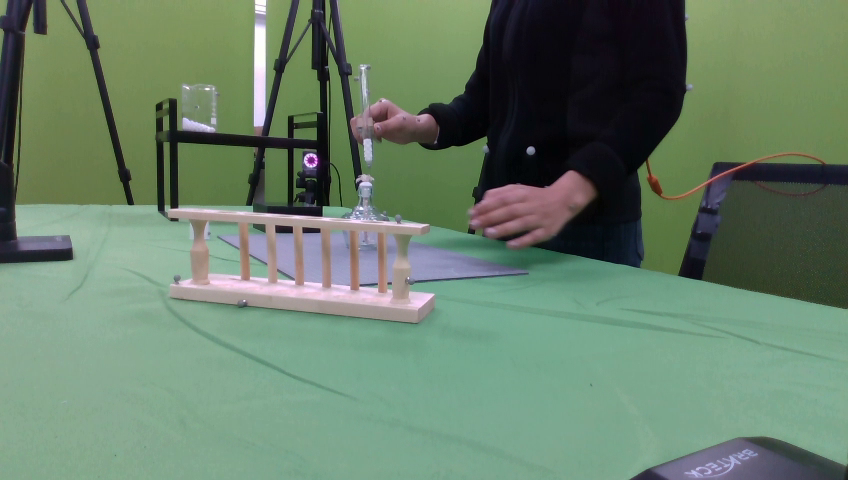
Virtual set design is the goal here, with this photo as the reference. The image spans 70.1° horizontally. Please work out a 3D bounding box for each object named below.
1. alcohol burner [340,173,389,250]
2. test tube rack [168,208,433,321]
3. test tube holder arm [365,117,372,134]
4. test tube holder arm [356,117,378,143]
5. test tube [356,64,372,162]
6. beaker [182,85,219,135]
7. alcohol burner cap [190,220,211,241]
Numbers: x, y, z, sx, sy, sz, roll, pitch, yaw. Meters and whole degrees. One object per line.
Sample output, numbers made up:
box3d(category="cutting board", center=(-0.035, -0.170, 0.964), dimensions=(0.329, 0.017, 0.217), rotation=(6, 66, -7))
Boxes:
box3d(category="alcohol burner", center=(-0.093, -0.045, 0.939), dimensions=(0.078, 0.119, 0.078), rotation=(0, 7, 0))
box3d(category="test tube rack", center=(-0.115, 0.017, 0.574), dimensions=(0.242, 0.085, 0.067), rotation=(4, 8, 13))
box3d(category="test tube holder arm", center=(-0.087, -0.179, 0.949), dimensions=(0.010, 0.015, 0.088), rotation=(-1, 1, -5))
box3d(category="test tube holder arm", center=(-0.092, -0.179, 0.994), dimensions=(0.013, 0.015, 0.178), rotation=(0, 1, 2))
box3d(category="test tube", center=(-0.092, -0.194, 0.926), dimensions=(0.017, 0.150, 0.017), rotation=(-4, 0, 0))
box3d(category="beaker", center=(-0.479, -0.276, 1.291), dimensions=(0.074, 0.100, 0.084), rotation=(2, 8, -1))
box3d(category="alcohol burner cap", center=(-0.365, -0.023, 0.988), dimensions=(0.034, 0.048, 0.034), rotation=(2, 7, 0))
